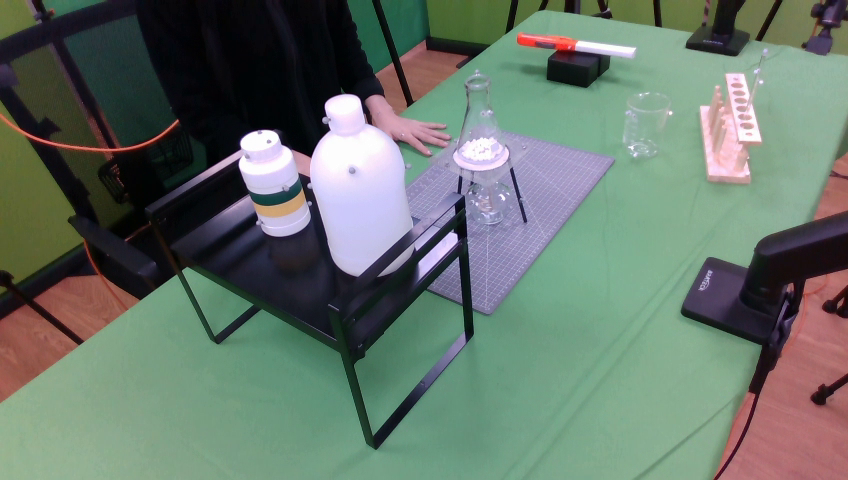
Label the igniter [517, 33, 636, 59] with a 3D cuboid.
[{"bbox_3d":[0.336,-0.441,1.369,0.275,0.025,0.057,17,41,24],"label":"igniter"}]

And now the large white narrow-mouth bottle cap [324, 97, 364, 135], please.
[{"bbox_3d":[-0.076,-0.120,0.585,0.038,0.024,0.037,-3,42,3],"label":"large white narrow-mouth bottle cap"}]

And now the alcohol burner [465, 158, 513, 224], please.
[{"bbox_3d":[0.105,-0.085,0.987,0.078,0.119,0.077,-5,43,5],"label":"alcohol burner"}]

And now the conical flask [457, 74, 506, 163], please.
[{"bbox_3d":[0.082,-0.181,0.893,0.075,0.122,0.075,-4,41,4],"label":"conical flask"}]

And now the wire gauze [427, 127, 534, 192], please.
[{"bbox_3d":[0.086,-0.130,0.925,0.124,0.011,0.122,28,54,31],"label":"wire gauze"}]

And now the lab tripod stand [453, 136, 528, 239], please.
[{"bbox_3d":[0.095,-0.086,0.974,0.148,0.132,0.147,-4,43,4],"label":"lab tripod stand"}]

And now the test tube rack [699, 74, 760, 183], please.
[{"bbox_3d":[0.547,-0.208,1.095,0.066,0.085,0.242,6,42,16],"label":"test tube rack"}]

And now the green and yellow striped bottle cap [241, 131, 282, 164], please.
[{"bbox_3d":[-0.187,-0.107,0.695,0.045,0.020,0.045,-3,39,3],"label":"green and yellow striped bottle cap"}]

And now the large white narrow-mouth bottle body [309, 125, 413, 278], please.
[{"bbox_3d":[-0.068,-0.057,0.645,0.102,0.195,0.101,-3,42,4],"label":"large white narrow-mouth bottle body"}]

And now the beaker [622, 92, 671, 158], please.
[{"bbox_3d":[0.402,-0.209,1.106,0.074,0.101,0.083,-9,40,-2],"label":"beaker"}]

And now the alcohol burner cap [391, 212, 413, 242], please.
[{"bbox_3d":[-0.038,-0.023,0.989,0.034,0.048,0.033,-5,40,5],"label":"alcohol burner cap"}]

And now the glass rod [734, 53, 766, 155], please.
[{"bbox_3d":[0.540,-0.220,1.007,0.008,0.201,0.008,-5,45,6],"label":"glass rod"}]

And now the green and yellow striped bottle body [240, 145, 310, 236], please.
[{"bbox_3d":[-0.181,-0.069,0.729,0.063,0.120,0.063,-4,40,4],"label":"green and yellow striped bottle body"}]
